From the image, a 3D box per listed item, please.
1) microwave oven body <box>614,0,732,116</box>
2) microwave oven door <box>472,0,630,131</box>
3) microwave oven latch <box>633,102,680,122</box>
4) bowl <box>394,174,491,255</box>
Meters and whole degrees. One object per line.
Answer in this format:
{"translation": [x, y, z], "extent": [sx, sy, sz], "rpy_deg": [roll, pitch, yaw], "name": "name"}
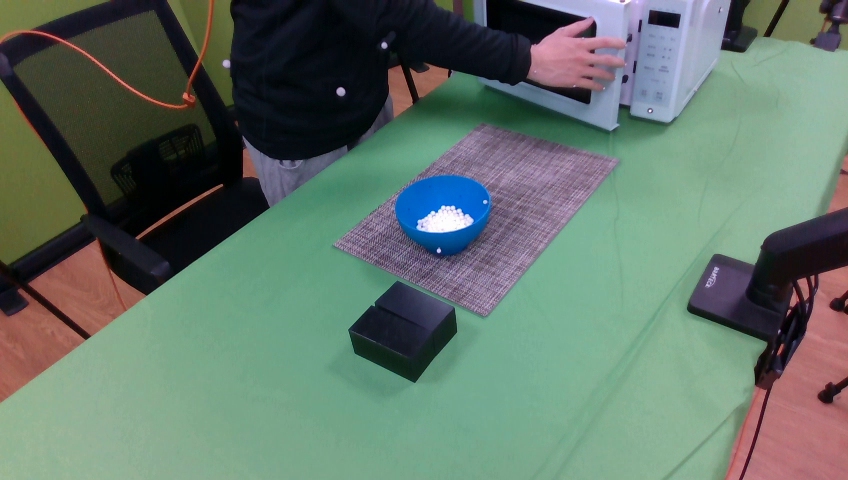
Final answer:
{"translation": [0.377, -0.462, 1.267], "extent": [0.438, 0.261, 0.327], "rpy_deg": [21, 48, 30], "name": "microwave oven body"}
{"translation": [0.234, -0.377, 1.181], "extent": [0.039, 0.245, 0.352], "rpy_deg": [-35, 48, -28], "name": "microwave oven door"}
{"translation": [0.443, -0.249, 1.157], "extent": [0.078, 0.029, 0.030], "rpy_deg": [21, 49, 30], "name": "microwave oven latch"}
{"translation": [0.032, -0.030, 0.949], "extent": [0.151, 0.077, 0.150], "rpy_deg": [-4, 40, 4], "name": "bowl"}
